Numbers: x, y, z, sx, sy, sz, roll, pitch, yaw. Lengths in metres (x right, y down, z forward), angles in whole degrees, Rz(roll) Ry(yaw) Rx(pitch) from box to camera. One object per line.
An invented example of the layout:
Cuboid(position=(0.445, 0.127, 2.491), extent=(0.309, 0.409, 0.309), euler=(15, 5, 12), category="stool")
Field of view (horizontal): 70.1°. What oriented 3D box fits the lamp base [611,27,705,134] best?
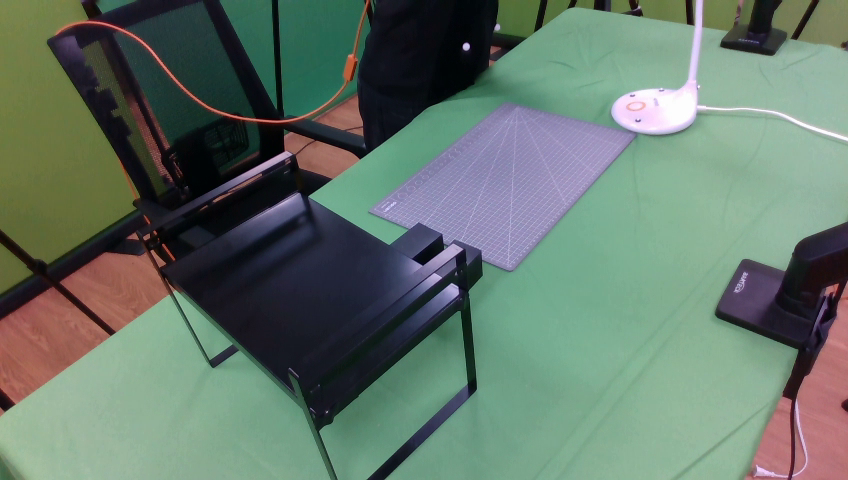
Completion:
Cuboid(position=(0.459, -0.316, 1.154), extent=(0.179, 0.181, 0.159), euler=(-6, 41, -1), category="lamp base")
